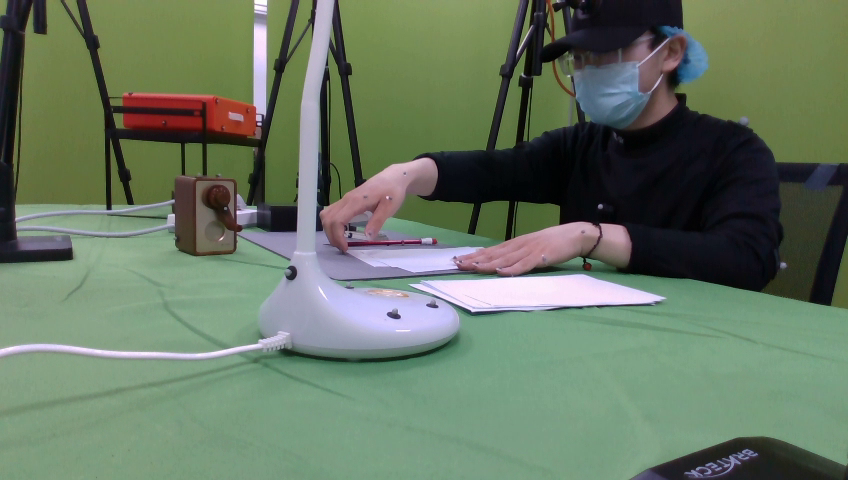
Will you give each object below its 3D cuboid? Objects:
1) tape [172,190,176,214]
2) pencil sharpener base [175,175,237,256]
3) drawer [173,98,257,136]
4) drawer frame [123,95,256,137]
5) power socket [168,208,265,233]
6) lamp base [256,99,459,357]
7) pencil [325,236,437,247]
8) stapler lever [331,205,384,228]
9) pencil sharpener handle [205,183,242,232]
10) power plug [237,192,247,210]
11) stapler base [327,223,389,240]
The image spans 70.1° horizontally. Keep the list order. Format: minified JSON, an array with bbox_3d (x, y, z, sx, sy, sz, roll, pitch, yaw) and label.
[{"bbox_3d":[-0.515,-0.087,1.388,0.117,0.052,0.117,3,7,0],"label":"tape"},{"bbox_3d":[-0.304,-0.035,0.847,0.062,0.107,0.076,-4,10,-42],"label":"pencil sharpener base"},{"bbox_3d":[-0.518,-0.279,1.376,0.211,0.073,0.195,3,8,9],"label":"drawer"},{"bbox_3d":[-0.524,-0.281,1.376,0.213,0.082,0.202,3,8,8],"label":"drawer frame"},{"bbox_3d":[-0.381,-0.038,1.129,0.072,0.032,0.227,4,8,17],"label":"power socket"},{"bbox_3d":[-0.055,-0.013,0.463,0.160,0.180,0.180,6,11,27],"label":"lamp base"},{"bbox_3d":[-0.066,0.003,0.979,0.195,0.012,0.012,-3,9,-25],"label":"pencil"},{"bbox_3d":[-0.118,-0.044,1.070,0.117,0.040,0.027,7,7,41],"label":"stapler lever"},{"bbox_3d":[-0.265,-0.043,0.813,0.036,0.068,0.030,-32,28,-35],"label":"pencil sharpener handle"},{"bbox_3d":[-0.386,-0.071,1.204,0.072,0.052,0.035,7,9,26],"label":"power plug"},{"bbox_3d":[-0.117,-0.018,1.072,0.130,0.024,0.041,7,7,41],"label":"stapler base"}]
